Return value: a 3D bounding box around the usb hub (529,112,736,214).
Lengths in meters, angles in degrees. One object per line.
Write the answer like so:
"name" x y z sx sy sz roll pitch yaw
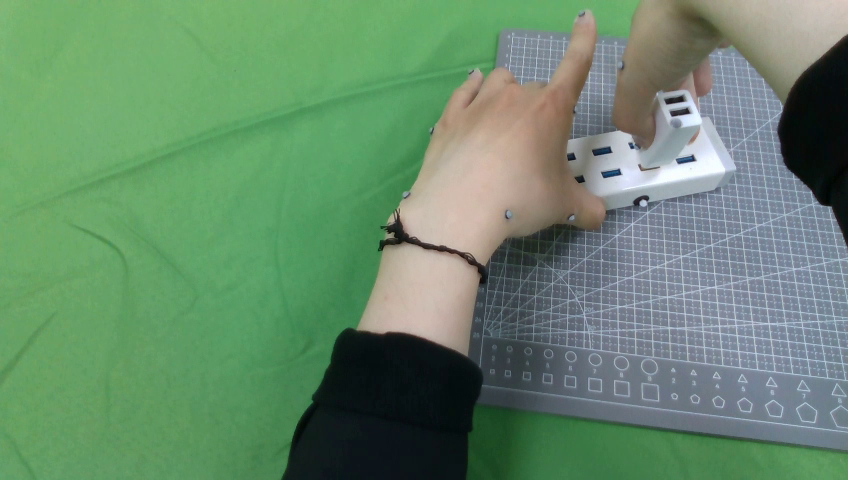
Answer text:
"usb hub" 0.137 -0.053 0.405 0.125 0.025 0.049 -10 63 -6

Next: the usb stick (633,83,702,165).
"usb stick" 0.146 -0.067 0.372 0.021 0.059 0.027 -13 64 -5
